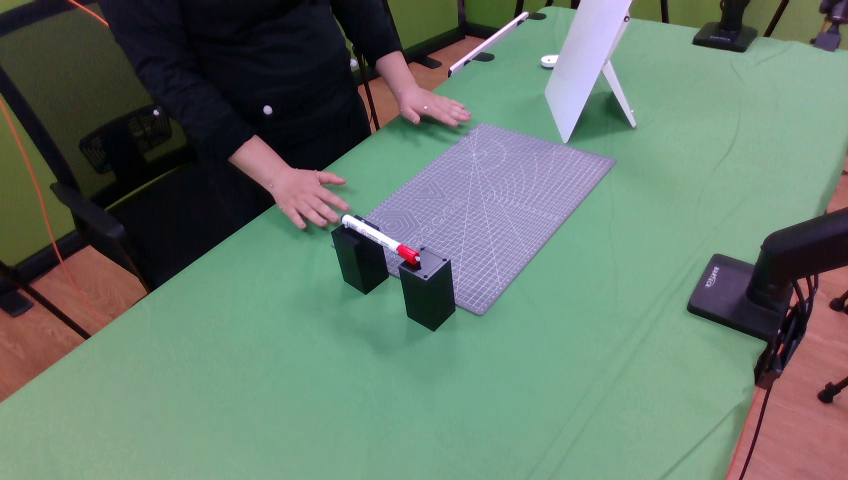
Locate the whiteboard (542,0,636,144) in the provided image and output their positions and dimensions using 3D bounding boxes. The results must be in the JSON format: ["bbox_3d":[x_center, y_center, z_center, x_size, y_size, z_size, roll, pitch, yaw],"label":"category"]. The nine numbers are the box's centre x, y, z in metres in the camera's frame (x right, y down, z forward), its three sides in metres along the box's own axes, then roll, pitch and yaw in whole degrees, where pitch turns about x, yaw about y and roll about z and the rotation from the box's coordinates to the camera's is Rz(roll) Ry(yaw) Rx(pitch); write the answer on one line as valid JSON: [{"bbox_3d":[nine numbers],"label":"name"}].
[{"bbox_3d":[0.366,-0.351,1.160,0.144,0.305,0.216,10,39,-10],"label":"whiteboard"}]

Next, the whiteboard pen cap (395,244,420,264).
[{"bbox_3d":[-0.023,0.018,0.800,0.032,0.017,0.017,29,52,36],"label":"whiteboard pen cap"}]

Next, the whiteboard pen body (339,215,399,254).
[{"bbox_3d":[-0.067,-0.004,0.835,0.139,0.017,0.017,28,51,33],"label":"whiteboard pen body"}]

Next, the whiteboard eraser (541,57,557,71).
[{"bbox_3d":[0.323,-0.412,1.407,0.101,0.019,0.041,1,42,11],"label":"whiteboard eraser"}]
